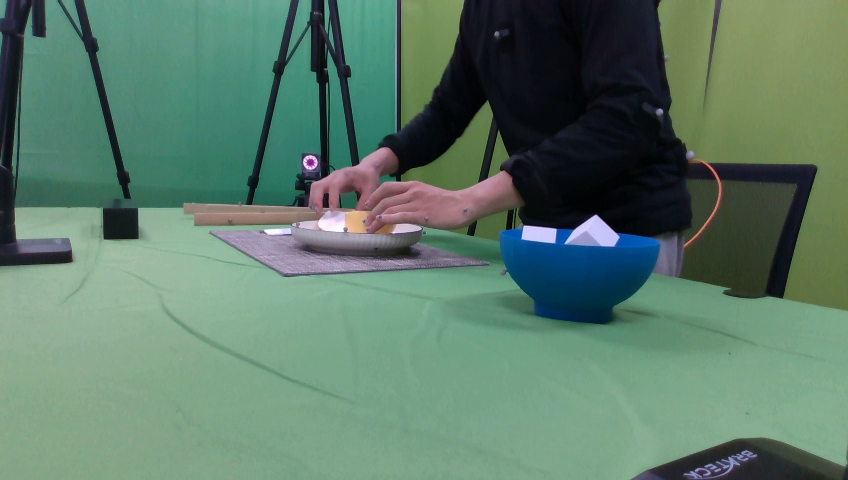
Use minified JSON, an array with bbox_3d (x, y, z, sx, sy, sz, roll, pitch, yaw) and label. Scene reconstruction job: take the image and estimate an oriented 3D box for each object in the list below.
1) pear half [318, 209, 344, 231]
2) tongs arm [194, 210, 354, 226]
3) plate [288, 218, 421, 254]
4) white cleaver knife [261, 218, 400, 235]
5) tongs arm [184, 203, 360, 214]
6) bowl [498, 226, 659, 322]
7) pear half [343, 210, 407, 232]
[{"bbox_3d":[-0.144,-0.020,1.012,0.071,0.031,0.087,-1,27,-25],"label":"pear half"},{"bbox_3d":[-0.298,-0.049,1.307,0.390,0.028,0.028,-3,8,-38],"label":"tongs arm"},{"bbox_3d":[-0.109,-0.007,0.956,0.208,0.039,0.207,2,7,0],"label":"plate"},{"bbox_3d":[-0.168,-0.023,1.156,0.288,0.021,0.065,-7,16,-33],"label":"white cleaver knife"},{"bbox_3d":[-0.337,-0.065,1.376,0.387,0.026,0.050,0,9,-25],"label":"tongs arm"},{"bbox_3d":[0.145,0.032,0.585,0.151,0.077,0.151,2,7,0],"label":"bowl"},{"bbox_3d":[-0.069,-0.022,0.917,0.109,0.056,0.077,-4,5,38],"label":"pear half"}]
